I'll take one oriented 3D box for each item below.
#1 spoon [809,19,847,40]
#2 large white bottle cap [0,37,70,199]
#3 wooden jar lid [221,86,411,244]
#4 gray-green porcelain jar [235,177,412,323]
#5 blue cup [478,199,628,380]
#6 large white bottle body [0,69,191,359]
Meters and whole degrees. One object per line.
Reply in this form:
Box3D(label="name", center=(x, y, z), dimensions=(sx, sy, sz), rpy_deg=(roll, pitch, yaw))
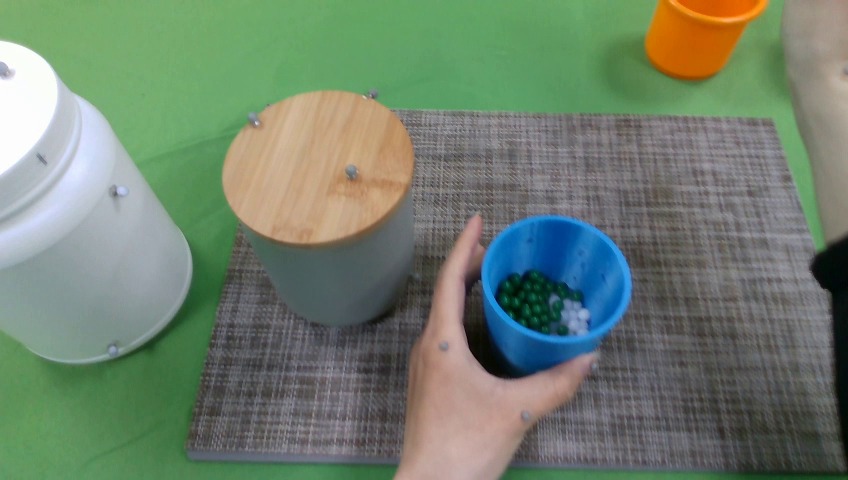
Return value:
Box3D(label="spoon", center=(0.413, -0.184, 0.498), dimensions=(0.042, 0.022, 0.192), rpy_deg=(-23, 18, -16))
Box3D(label="large white bottle cap", center=(-0.241, -0.058, 0.305), dimensions=(0.115, 0.018, 0.114), rpy_deg=(0, 60, 0))
Box3D(label="wooden jar lid", center=(-0.061, -0.043, 0.351), dimensions=(0.108, 0.021, 0.107), rpy_deg=(-1, 60, 3))
Box3D(label="gray-green porcelain jar", center=(-0.061, -0.010, 0.405), dimensions=(0.106, 0.127, 0.105), rpy_deg=(0, 60, 1))
Box3D(label="blue cup", center=(0.075, 0.044, 0.387), dimensions=(0.092, 0.101, 0.092), rpy_deg=(-1, 57, 1))
Box3D(label="large white bottle body", center=(-0.240, -0.015, 0.378), dimensions=(0.130, 0.186, 0.129), rpy_deg=(0, 60, 0))
